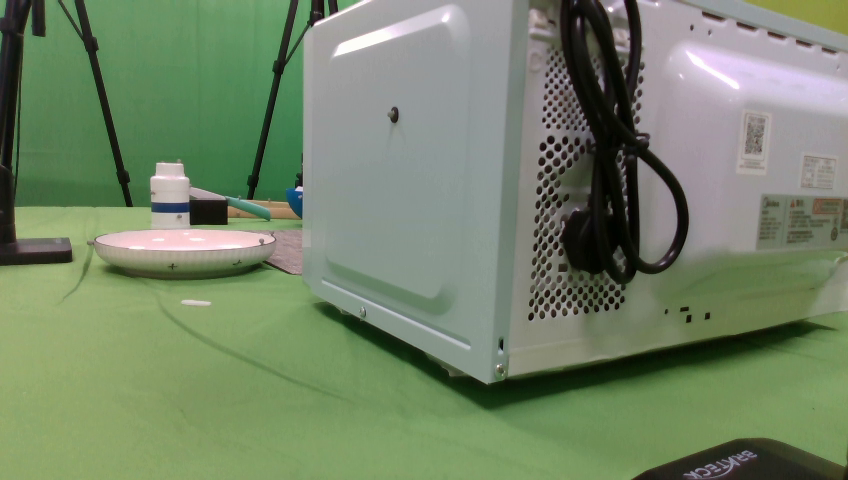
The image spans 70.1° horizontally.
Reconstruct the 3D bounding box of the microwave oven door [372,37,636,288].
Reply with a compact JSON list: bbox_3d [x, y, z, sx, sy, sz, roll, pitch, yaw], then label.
[{"bbox_3d":[0.110,-0.080,0.686,0.358,0.243,0.039,-2,9,-33],"label":"microwave oven door"}]

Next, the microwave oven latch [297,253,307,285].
[{"bbox_3d":[-0.082,0.027,0.582,0.079,0.029,0.030,-1,8,-33],"label":"microwave oven latch"}]

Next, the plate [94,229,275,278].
[{"bbox_3d":[-0.291,0.016,0.749,0.208,0.039,0.207,2,7,0],"label":"plate"}]

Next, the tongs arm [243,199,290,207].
[{"bbox_3d":[-0.309,-0.078,1.487,0.385,0.026,0.050,3,7,-2],"label":"tongs arm"}]

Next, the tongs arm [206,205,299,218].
[{"bbox_3d":[-0.302,-0.065,1.407,0.389,0.028,0.028,1,4,-15],"label":"tongs arm"}]

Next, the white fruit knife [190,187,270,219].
[{"bbox_3d":[-0.413,-0.081,1.270,0.208,0.027,0.016,17,14,-41],"label":"white fruit knife"}]

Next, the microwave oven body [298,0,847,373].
[{"bbox_3d":[0.151,-0.055,0.542,0.444,0.260,0.324,-1,7,-33],"label":"microwave oven body"}]

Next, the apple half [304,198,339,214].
[{"bbox_3d":[-0.217,-0.073,1.274,0.081,0.033,0.081,2,9,0],"label":"apple half"}]

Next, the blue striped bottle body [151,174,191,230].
[{"bbox_3d":[-0.439,-0.071,1.052,0.063,0.120,0.063,2,7,0],"label":"blue striped bottle body"}]

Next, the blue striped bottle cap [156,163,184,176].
[{"bbox_3d":[-0.438,-0.122,1.045,0.044,0.020,0.044,5,6,0],"label":"blue striped bottle cap"}]

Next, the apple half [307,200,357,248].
[{"bbox_3d":[-0.136,-0.024,0.942,0.053,0.074,0.081,15,10,38],"label":"apple half"}]

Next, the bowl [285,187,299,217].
[{"bbox_3d":[-0.218,-0.069,1.274,0.151,0.077,0.151,3,8,0],"label":"bowl"}]
